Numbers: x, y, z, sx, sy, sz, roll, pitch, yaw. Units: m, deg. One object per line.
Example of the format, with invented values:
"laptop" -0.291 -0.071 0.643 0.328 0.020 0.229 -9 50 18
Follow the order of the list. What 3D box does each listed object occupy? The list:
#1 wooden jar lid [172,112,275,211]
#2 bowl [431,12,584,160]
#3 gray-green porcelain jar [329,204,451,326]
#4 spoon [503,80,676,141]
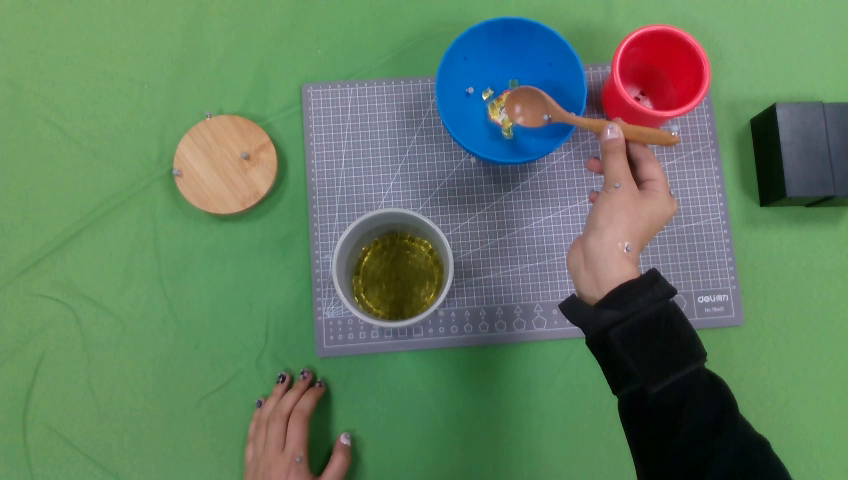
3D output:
"wooden jar lid" -0.213 -0.083 0.649 0.108 0.021 0.108 0 82 0
"bowl" 0.082 -0.147 0.629 0.151 0.077 0.151 0 82 0
"gray-green porcelain jar" -0.029 0.029 0.579 0.106 0.127 0.105 0 82 0
"spoon" 0.140 -0.112 0.548 0.022 0.191 0.042 -18 121 -28
